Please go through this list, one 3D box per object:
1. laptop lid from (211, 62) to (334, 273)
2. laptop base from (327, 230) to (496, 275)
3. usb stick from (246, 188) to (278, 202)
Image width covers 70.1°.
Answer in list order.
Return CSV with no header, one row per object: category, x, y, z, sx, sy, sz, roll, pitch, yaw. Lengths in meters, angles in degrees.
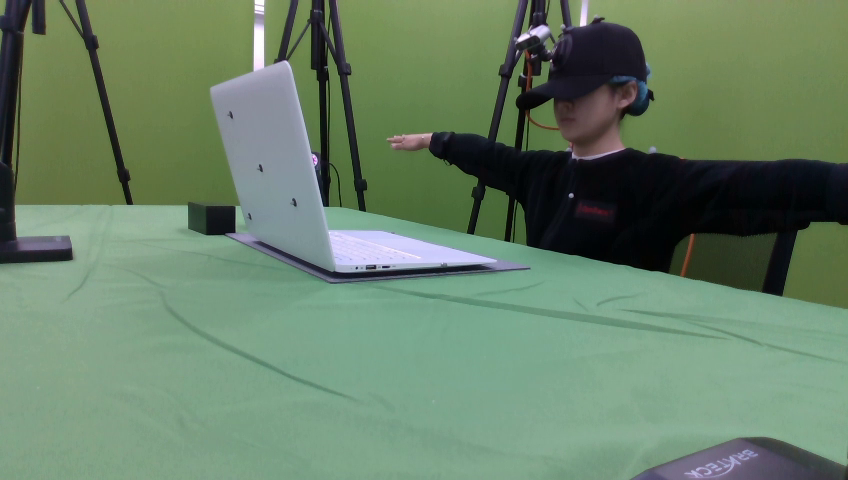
laptop lid,-0.211,-0.095,0.791,0.013,0.241,0.355,-18,18,-29
laptop base,-0.091,0.016,0.884,0.237,0.023,0.352,2,6,-32
usb stick,-0.314,-0.087,1.166,0.059,0.027,0.021,-4,12,-32
